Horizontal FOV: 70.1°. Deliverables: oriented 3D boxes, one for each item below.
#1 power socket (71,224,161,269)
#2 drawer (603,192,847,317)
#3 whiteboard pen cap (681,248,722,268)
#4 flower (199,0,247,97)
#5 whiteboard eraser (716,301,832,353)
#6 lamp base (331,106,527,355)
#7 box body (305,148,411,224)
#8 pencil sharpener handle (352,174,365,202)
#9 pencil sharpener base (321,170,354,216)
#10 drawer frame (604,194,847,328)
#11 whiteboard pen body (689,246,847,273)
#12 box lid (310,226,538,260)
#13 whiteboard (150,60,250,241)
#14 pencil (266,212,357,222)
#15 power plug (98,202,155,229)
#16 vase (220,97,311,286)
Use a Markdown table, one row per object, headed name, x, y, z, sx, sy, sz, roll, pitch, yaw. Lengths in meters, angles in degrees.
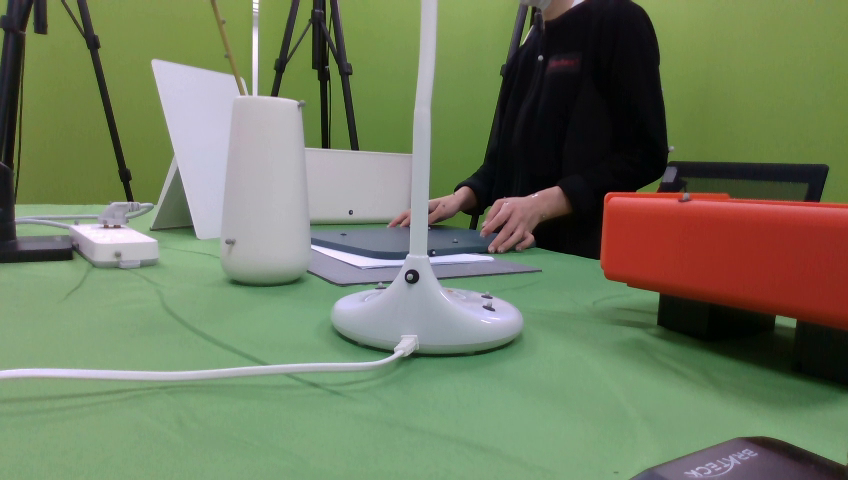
| name | x | y | z | sx | sy | sz | roll | pitch | yaw |
| --- | --- | --- | --- | --- | --- | --- | --- | --- | --- |
| power socket | -0.408 | 0.004 | 0.793 | 0.072 | 0.032 | 0.225 | -2 | 8 | -38 |
| drawer | 0.293 | 0.002 | 0.500 | 0.195 | 0.073 | 0.210 | -1 | 8 | -34 |
| whiteboard pen cap | 0.250 | 0.017 | 0.544 | 0.033 | 0.018 | 0.018 | 2 | 7 | 25 |
| flower | -0.187 | -0.133 | 0.648 | 0.038 | 0.362 | 0.044 | 0 | 21 | 43 |
| whiteboard eraser | 0.256 | 0.042 | 0.472 | 0.112 | 0.042 | 0.056 | 43 | 19 | 30 |
| lamp base | 0.006 | -0.012 | 0.478 | 0.161 | 0.180 | 0.179 | 2 | 10 | 2 |
| box body | -0.230 | -0.126 | 1.372 | 0.366 | 0.160 | 0.253 | -2 | 9 | -33 |
| pencil sharpener handle | -0.156 | -0.124 | 1.449 | 0.031 | 0.068 | 0.036 | 1 | 18 | -10 |
| pencil sharpener base | -0.206 | -0.112 | 1.437 | 0.077 | 0.107 | 0.061 | 1 | 6 | -11 |
| drawer frame | 0.297 | 0.007 | 0.497 | 0.203 | 0.082 | 0.212 | -1 | 7 | -34 |
| whiteboard pen body | 0.303 | 0.016 | 0.519 | 0.140 | 0.017 | 0.017 | 4 | 8 | 25 |
| box lid | -0.010 | 0.001 | 1.036 | 0.374 | 0.015 | 0.262 | -4 | 9 | -44 |
| whiteboard | -0.408 | -0.139 | 1.093 | 0.143 | 0.305 | 0.218 | -15 | -1 | 26 |
| pencil | -0.244 | -0.048 | 1.319 | 0.195 | 0.012 | 0.012 | 4 | 7 | -12 |
| power plug | -0.416 | -0.027 | 0.848 | 0.073 | 0.052 | 0.035 | 0 | 7 | -28 |
| vase | -0.172 | -0.052 | 0.662 | 0.098 | 0.200 | 0.098 | 3 | 8 | 0 |
